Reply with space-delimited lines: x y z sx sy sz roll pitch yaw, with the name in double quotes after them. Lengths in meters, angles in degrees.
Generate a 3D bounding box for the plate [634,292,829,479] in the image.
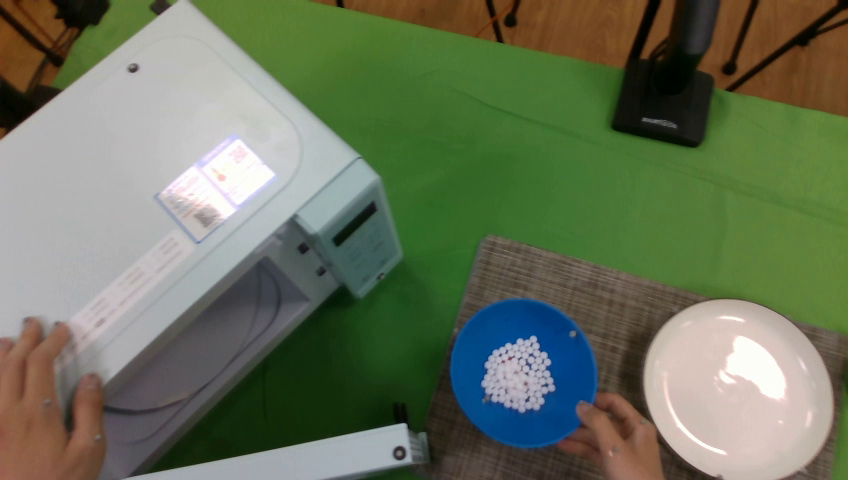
0.344 0.164 0.691 0.207 0.039 0.206 -1 71 3 "plate"

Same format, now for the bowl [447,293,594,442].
0.096 0.139 0.645 0.151 0.077 0.150 1 69 -3 "bowl"

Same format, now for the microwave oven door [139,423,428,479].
-0.179 0.224 0.579 0.356 0.245 0.039 -11 71 -1 "microwave oven door"

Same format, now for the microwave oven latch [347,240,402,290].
-0.063 0.025 0.748 0.079 0.030 0.030 -43 74 -10 "microwave oven latch"

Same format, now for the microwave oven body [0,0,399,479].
-0.299 0.020 0.661 0.324 0.262 0.441 42 79 15 "microwave oven body"
